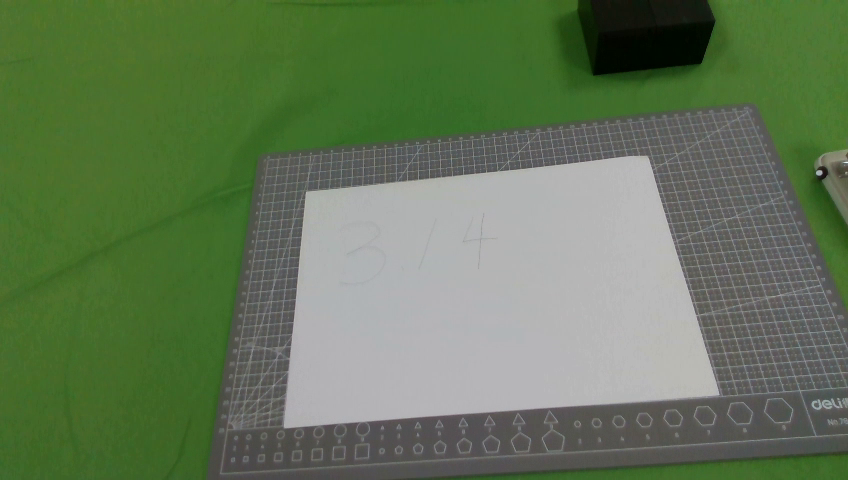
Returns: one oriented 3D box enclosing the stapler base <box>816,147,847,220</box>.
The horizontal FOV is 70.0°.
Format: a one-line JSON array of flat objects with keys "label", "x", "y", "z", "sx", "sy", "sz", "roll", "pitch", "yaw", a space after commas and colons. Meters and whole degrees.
[{"label": "stapler base", "x": 0.342, "y": -0.023, "z": 0.452, "sx": 0.041, "sy": 0.024, "sz": 0.129, "roll": -10, "pitch": 59, "yaw": 5}]
